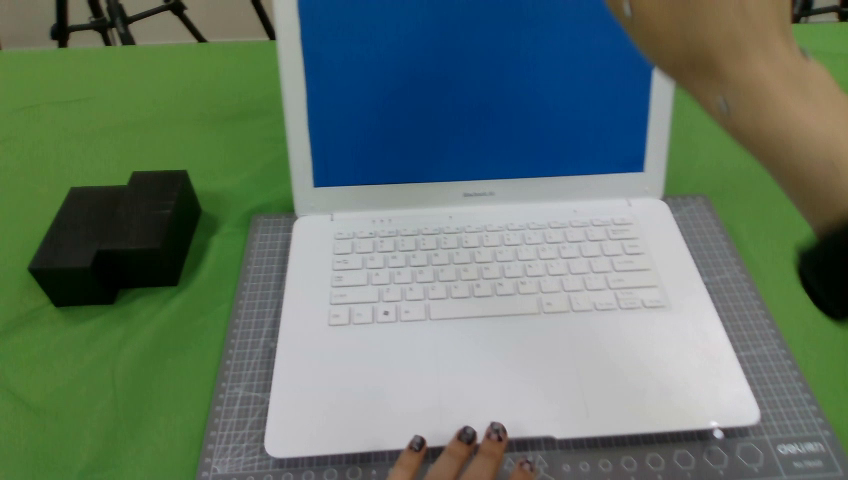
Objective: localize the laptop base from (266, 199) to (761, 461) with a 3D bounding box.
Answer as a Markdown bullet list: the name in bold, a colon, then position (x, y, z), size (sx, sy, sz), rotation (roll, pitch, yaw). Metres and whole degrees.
- **laptop base**: position (0.060, 0.060, 0.502), size (0.354, 0.023, 0.233), rotation (-3, 50, -2)

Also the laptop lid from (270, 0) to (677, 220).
- **laptop lid**: position (0.048, -0.135, 0.545), size (0.357, 0.243, 0.013), rotation (-4, 18, -2)
